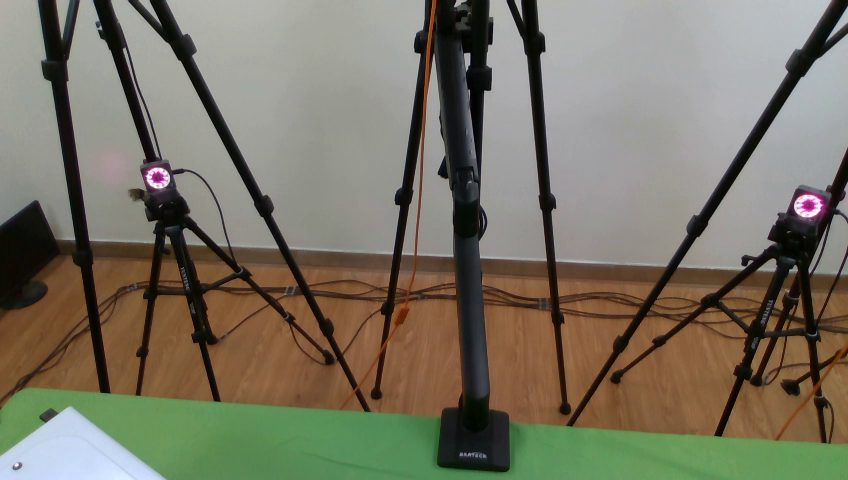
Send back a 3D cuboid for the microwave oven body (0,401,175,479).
[{"bbox_3d":[-0.472,0.460,0.671,0.323,0.262,0.441,21,43,26],"label":"microwave oven body"}]
